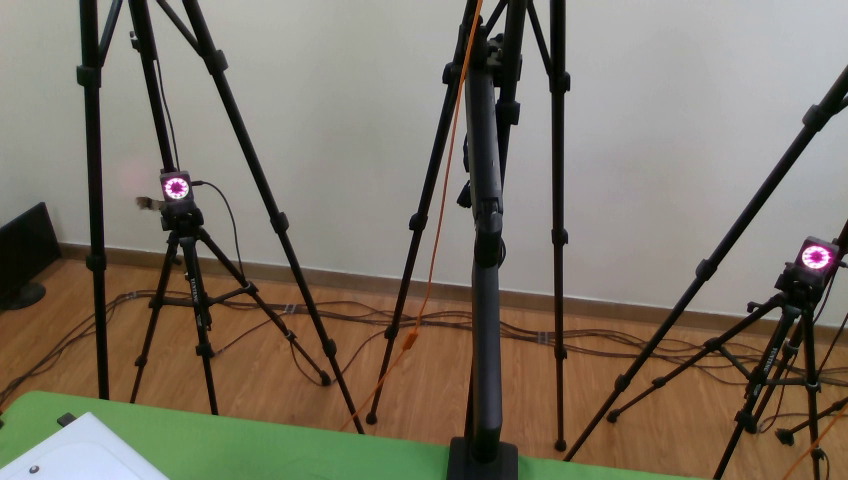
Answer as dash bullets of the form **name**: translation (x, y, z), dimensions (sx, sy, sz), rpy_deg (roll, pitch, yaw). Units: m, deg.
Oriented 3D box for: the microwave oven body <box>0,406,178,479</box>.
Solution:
- **microwave oven body**: translation (-0.459, 0.460, 0.658), dimensions (0.323, 0.262, 0.441), rpy_deg (24, 40, 26)
